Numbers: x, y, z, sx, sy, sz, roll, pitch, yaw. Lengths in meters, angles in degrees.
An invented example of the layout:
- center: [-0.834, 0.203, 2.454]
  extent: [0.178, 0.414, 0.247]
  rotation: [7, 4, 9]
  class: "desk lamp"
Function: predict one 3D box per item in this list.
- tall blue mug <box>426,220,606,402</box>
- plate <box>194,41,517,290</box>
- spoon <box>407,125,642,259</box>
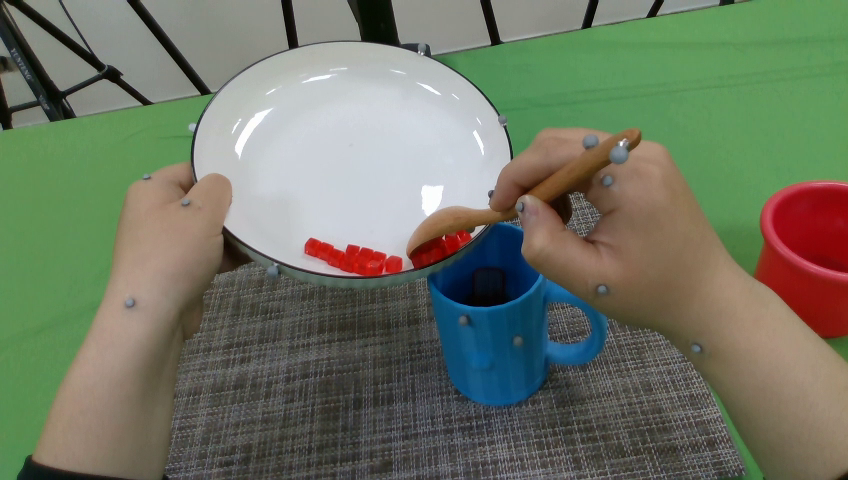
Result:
- center: [0.061, 0.047, 0.415]
  extent: [0.107, 0.109, 0.077]
  rotation: [-14, 44, -2]
  class: "tall blue mug"
- center: [-0.043, -0.053, 0.409]
  extent: [0.208, 0.039, 0.205]
  rotation: [3, 56, -4]
  class: "plate"
- center: [0.038, -0.017, 0.297]
  extent: [0.041, 0.022, 0.193]
  rotation: [-34, 6, -27]
  class: "spoon"
